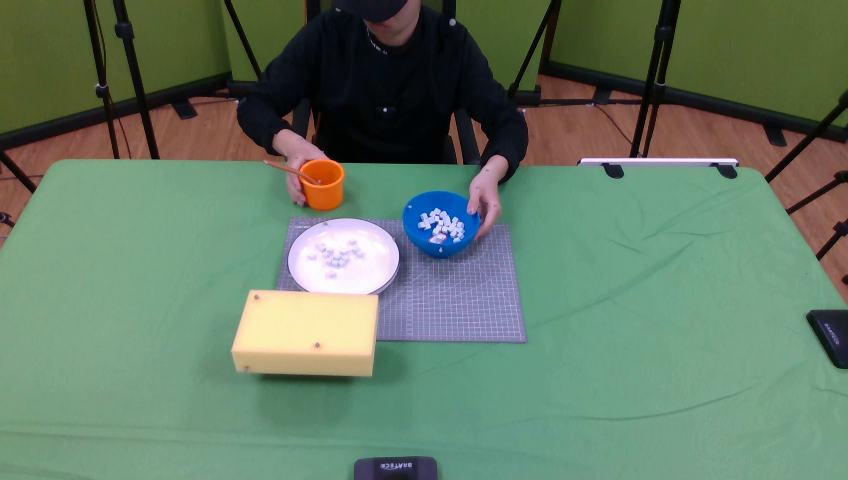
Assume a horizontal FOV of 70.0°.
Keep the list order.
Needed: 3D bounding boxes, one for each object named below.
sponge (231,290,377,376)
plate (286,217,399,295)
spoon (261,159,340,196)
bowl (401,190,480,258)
[{"bbox_3d":[-0.180,0.144,0.949,0.207,0.061,0.117,2,46,-2],"label":"sponge"},{"bbox_3d":[-0.150,0.041,1.131,0.209,0.038,0.208,2,46,-2],"label":"plate"},{"bbox_3d":[-0.244,-0.126,1.214,0.021,0.195,0.041,-48,49,13],"label":"spoon"},{"bbox_3d":[0.029,-0.019,1.175,0.151,0.077,0.150,3,46,-3],"label":"bowl"}]
